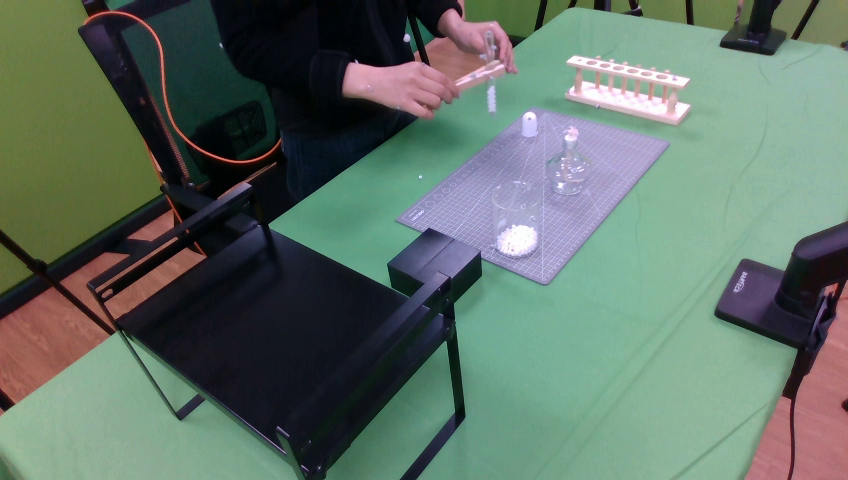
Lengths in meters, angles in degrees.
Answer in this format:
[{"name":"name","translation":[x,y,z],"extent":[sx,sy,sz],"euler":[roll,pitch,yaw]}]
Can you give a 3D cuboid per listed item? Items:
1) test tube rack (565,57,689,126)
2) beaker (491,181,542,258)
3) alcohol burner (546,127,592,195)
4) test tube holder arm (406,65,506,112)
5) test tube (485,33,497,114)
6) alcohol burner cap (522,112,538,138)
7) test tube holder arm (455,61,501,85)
[{"name":"test tube rack","translation":[0.412,-0.311,1.230],"extent":[0.240,0.085,0.067],"euler":[24,49,32]},{"name":"beaker","translation":[0.144,-0.030,0.925],"extent":[0.073,0.100,0.084],"euler":[23,48,31]},{"name":"alcohol burner","translation":[0.246,-0.137,1.024],"extent":[0.078,0.119,0.077],"euler":[-4,38,4]},{"name":"test tube holder arm","translation":[0.053,-0.244,0.974],"extent":[0.179,0.015,0.013],"euler":[-25,48,-13]},{"name":"test tube","translation":[0.111,-0.270,0.997],"extent":[0.017,0.151,0.017],"euler":[-4,49,5]},{"name":"alcohol burner cap","translation":[0.210,-0.230,1.195],"extent":[0.034,0.048,0.033],"euler":[-5,41,5]},{"name":"test tube holder arm","translation":[0.089,-0.268,0.988],"extent":[0.088,0.015,0.010],"euler":[-31,50,-17]}]
